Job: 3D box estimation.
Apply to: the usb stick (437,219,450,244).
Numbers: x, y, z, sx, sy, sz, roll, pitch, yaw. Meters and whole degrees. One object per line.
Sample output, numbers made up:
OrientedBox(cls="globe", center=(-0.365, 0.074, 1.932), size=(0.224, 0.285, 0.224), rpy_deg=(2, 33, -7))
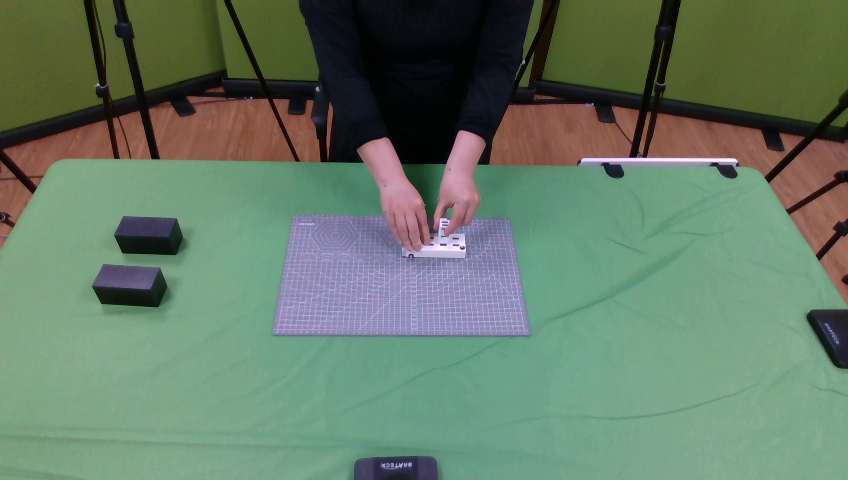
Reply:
OrientedBox(cls="usb stick", center=(0.036, -0.012, 1.165), size=(0.021, 0.059, 0.027), rpy_deg=(-1, 47, -5))

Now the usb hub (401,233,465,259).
OrientedBox(cls="usb hub", center=(0.017, 0.011, 1.182), size=(0.125, 0.025, 0.049), rpy_deg=(1, 46, -2))
